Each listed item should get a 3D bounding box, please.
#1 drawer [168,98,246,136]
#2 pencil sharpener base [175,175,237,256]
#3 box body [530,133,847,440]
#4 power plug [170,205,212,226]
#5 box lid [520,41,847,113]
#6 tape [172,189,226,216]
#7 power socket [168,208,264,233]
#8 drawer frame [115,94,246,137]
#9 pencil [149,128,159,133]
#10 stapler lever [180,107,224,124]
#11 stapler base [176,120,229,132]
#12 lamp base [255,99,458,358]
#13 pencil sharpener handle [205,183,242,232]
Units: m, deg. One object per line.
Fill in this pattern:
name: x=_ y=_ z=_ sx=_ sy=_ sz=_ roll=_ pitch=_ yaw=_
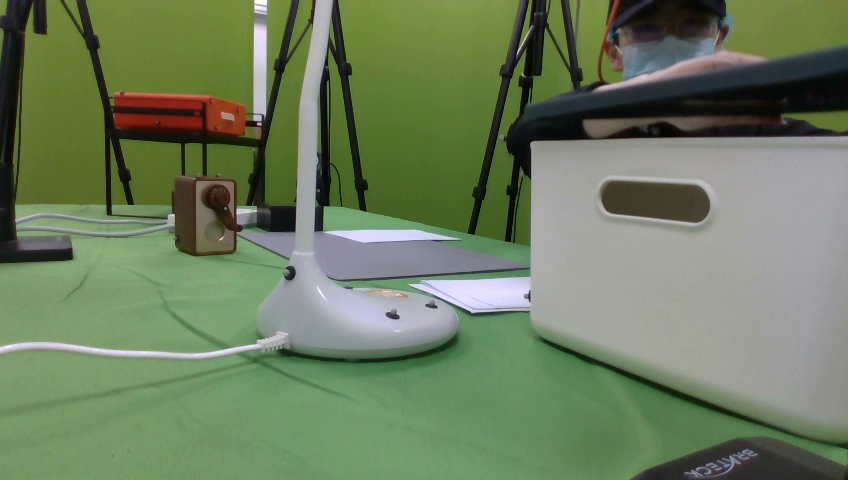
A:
drawer: x=-0.539 y=-0.279 z=1.374 sx=0.212 sy=0.073 sz=0.194 roll=2 pitch=8 yaw=5
pencil sharpener base: x=-0.304 y=-0.036 z=0.847 sx=0.062 sy=0.107 sz=0.076 roll=-4 pitch=10 yaw=-42
box body: x=0.287 y=0.007 z=0.473 sx=0.366 sy=0.160 sz=0.253 roll=-3 pitch=8 yaw=-33
power plug: x=-0.455 y=-0.041 z=1.196 sx=0.052 sy=0.035 sz=0.072 roll=1 pitch=42 yaw=23
box lid: x=0.286 y=-0.110 z=0.450 sx=0.373 sy=0.015 sz=0.262 roll=-7 pitch=9 yaw=-32
tape: x=-0.515 y=-0.087 z=1.388 sx=0.117 sy=0.052 sz=0.117 roll=3 pitch=8 yaw=0
power socket: x=-0.381 y=-0.038 z=1.129 sx=0.072 sy=0.032 sz=0.227 roll=4 pitch=8 yaw=17
drawer frame: x=-0.543 y=-0.281 z=1.374 sx=0.213 sy=0.082 sz=0.201 roll=2 pitch=8 yaw=4
pencil: x=-0.528 y=-0.258 z=1.360 sx=0.012 sy=0.012 sz=0.195 roll=8 pitch=20 yaw=35
stapler lever: x=-0.496 y=-0.281 z=1.359 sx=0.027 sy=0.040 sz=0.118 roll=2 pitch=7 yaw=22
stapler base: x=-0.496 y=-0.257 z=1.363 sx=0.041 sy=0.024 sz=0.131 roll=2 pitch=9 yaw=22
lamp base: x=-0.056 y=-0.013 z=0.462 sx=0.160 sy=0.180 sz=0.180 roll=6 pitch=11 yaw=27
pencil sharpener handle: x=-0.265 y=-0.043 z=0.812 sx=0.036 sy=0.068 sz=0.030 roll=-31 pitch=27 yaw=-35
